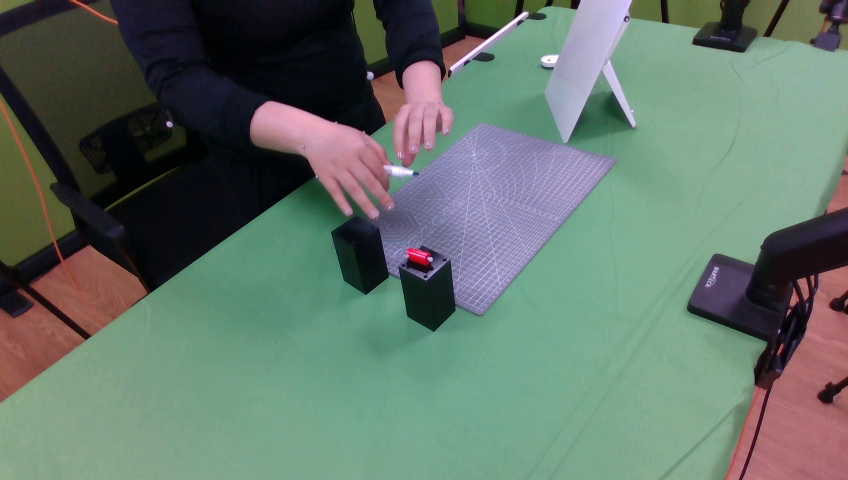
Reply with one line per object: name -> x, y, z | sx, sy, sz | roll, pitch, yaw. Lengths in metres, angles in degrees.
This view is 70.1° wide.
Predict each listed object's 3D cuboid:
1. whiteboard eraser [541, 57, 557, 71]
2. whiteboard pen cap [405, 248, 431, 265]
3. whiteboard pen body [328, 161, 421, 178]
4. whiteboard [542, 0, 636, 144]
whiteboard eraser -> 0.323, -0.412, 1.407 | 0.101, 0.019, 0.041 | 1, 42, 11
whiteboard pen cap -> -0.009, 0.021, 0.794 | 0.032, 0.017, 0.017 | 16, 45, 29
whiteboard pen body -> -0.070, -0.098, 0.845 | 0.140, 0.017, 0.017 | 7, 42, 19
whiteboard -> 0.366, -0.351, 1.160 | 0.144, 0.305, 0.216 | 10, 39, -10
